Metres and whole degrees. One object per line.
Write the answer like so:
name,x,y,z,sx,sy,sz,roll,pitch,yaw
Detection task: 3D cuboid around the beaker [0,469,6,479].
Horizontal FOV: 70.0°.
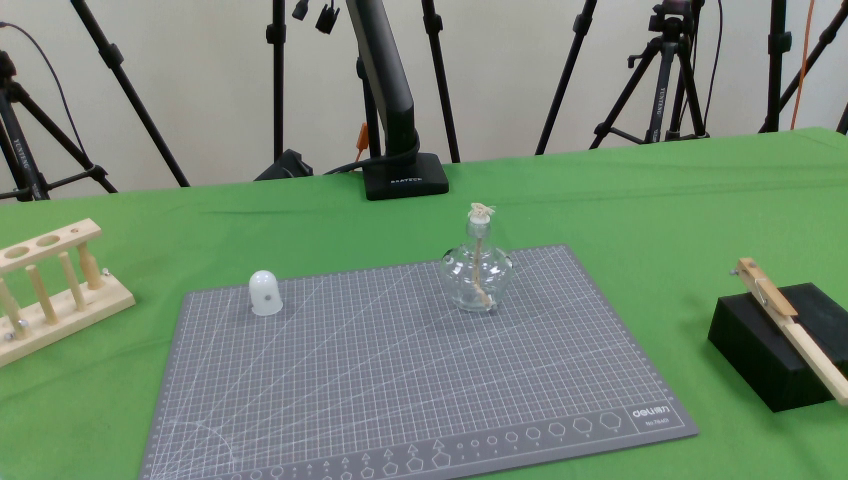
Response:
beaker,-0.354,0.161,0.428,0.083,0.101,0.073,9,34,17

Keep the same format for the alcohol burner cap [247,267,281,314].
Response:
alcohol burner cap,-0.171,0.051,0.641,0.034,0.048,0.033,-1,33,1

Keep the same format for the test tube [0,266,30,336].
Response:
test tube,-0.403,0.030,0.565,0.017,0.151,0.017,0,33,1

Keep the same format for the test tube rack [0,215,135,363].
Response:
test tube rack,-0.427,0.067,0.592,0.066,0.086,0.242,28,43,37

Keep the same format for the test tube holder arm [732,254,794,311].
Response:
test tube holder arm,0.314,0.041,0.563,0.015,0.010,0.087,-1,33,-1

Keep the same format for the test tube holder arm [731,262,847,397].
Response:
test tube holder arm,0.315,0.070,0.528,0.015,0.013,0.176,-2,33,0

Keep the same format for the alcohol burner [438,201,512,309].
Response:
alcohol burner,0.053,0.011,0.627,0.078,0.120,0.077,0,33,0
